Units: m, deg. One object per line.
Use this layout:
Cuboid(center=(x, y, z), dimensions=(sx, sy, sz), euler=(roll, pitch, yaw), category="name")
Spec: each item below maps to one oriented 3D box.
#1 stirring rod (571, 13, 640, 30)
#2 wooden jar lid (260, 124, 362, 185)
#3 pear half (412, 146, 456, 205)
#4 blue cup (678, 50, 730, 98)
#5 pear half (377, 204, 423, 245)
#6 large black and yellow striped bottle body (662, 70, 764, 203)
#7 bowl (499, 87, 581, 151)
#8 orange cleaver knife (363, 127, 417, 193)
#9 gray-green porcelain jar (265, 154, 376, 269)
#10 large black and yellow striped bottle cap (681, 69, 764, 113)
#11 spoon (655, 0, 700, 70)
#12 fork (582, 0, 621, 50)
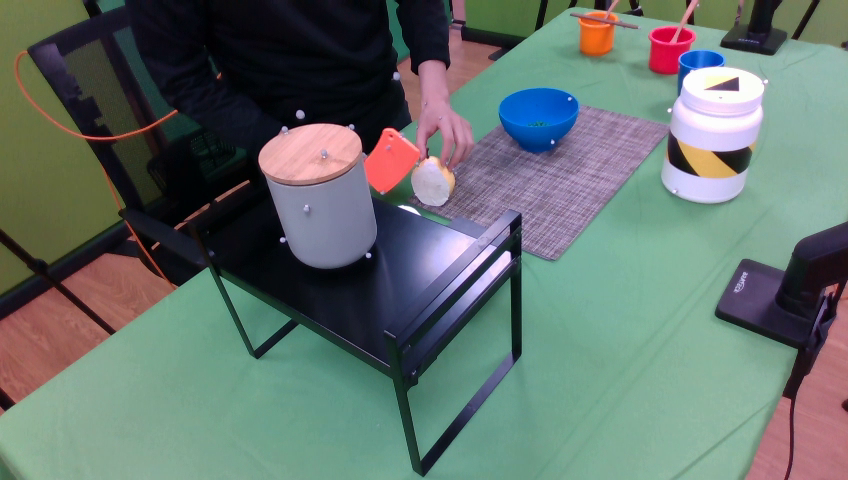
Cuboid(center=(0.418, -0.508, 1.404), dimensions=(0.174, 0.006, 0.014), euler=(28, 53, 35), category="stirring rod")
Cuboid(center=(-0.119, -0.088, 0.644), dimensions=(0.108, 0.021, 0.108), euler=(-4, 40, 3), category="wooden jar lid")
Cuboid(center=(0.019, -0.120, 1.043), dimensions=(0.076, 0.110, 0.056), euler=(9, 42, 14), category="pear half")
Cuboid(center=(0.542, -0.310, 1.194), dimensions=(0.092, 0.101, 0.092), euler=(-6, 41, 6), category="blue cup")
Cuboid(center=(-0.042, -0.017, 0.997), dimensions=(0.070, 0.031, 0.088), euler=(38, 71, 22), category="pear half")
Cuboid(center=(0.464, -0.166, 0.976), dimensions=(0.131, 0.185, 0.130), euler=(-5, 41, 5), category="large black and yellow striped bottle body")
Cuboid(center=(0.220, -0.223, 1.156), dimensions=(0.151, 0.077, 0.150), euler=(-4, 40, 4), category="bowl")
Cuboid(center=(-0.084, -0.112, 0.992), dimensions=(0.077, 0.210, 0.012), euler=(47, 49, -8), category="orange cleaver knife")
Cuboid(center=(-0.112, -0.039, 0.685), dimensions=(0.106, 0.127, 0.105), euler=(-4, 40, 4), category="gray-green porcelain jar")
Cuboid(center=(0.453, -0.229, 0.921), dimensions=(0.115, 0.019, 0.114), euler=(-4, 39, 4), category="large black and yellow striped bottle cap")
Cuboid(center=(0.568, -0.463, 1.337), dimensions=(0.041, 0.022, 0.193), euler=(30, 97, 37), category="spoon")
Cuboid(center=(0.446, -0.539, 1.438), dimensions=(0.207, 0.019, 0.028), euler=(-57, 35, 12), category="fork")
